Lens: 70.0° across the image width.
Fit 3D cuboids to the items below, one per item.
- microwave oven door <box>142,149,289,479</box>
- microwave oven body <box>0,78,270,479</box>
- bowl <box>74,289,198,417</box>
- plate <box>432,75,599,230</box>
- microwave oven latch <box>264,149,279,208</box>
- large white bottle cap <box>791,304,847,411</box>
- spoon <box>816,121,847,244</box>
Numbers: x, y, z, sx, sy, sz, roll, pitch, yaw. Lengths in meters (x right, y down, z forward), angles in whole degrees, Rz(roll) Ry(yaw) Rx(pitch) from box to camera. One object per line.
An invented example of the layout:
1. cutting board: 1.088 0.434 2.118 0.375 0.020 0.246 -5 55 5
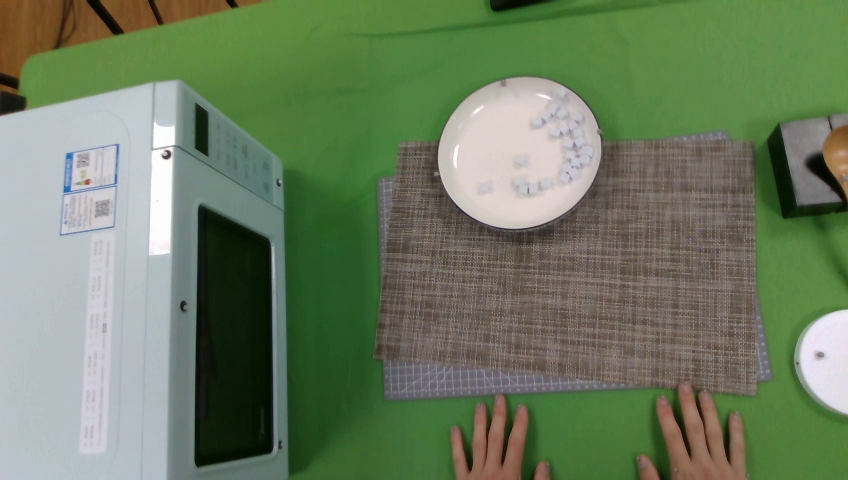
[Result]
1. microwave oven door: -0.227 0.104 0.687 0.039 0.245 0.354 -8 75 12
2. microwave oven body: -0.371 0.085 0.731 0.325 0.262 0.439 -8 76 11
3. bowl: -0.335 0.139 0.743 0.151 0.077 0.150 -3 76 12
4. plate: 0.116 -0.109 0.776 0.208 0.038 0.208 -3 75 13
5. microwave oven latch: -0.219 -0.083 0.836 0.030 0.030 0.078 -8 76 11
6. large white bottle cap: 0.461 0.126 0.652 0.114 0.018 0.114 -3 77 12
7. spoon: 0.455 -0.032 0.652 0.041 0.021 0.194 -12 97 9
